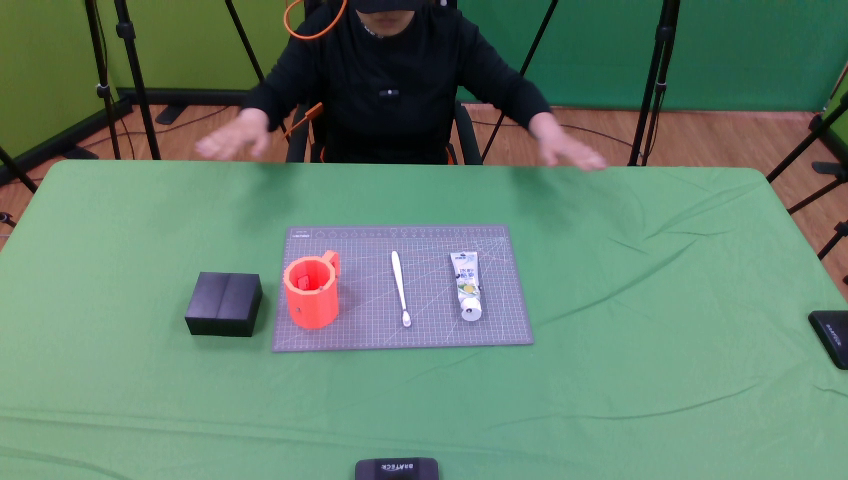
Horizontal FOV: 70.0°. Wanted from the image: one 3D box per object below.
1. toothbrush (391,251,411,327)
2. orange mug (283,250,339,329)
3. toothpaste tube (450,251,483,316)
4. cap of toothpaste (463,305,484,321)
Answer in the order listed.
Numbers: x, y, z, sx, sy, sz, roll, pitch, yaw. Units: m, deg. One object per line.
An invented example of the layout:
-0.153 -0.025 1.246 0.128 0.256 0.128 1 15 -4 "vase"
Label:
-0.044 0.085 1.112 0.014 0.017 0.180 -14 46 1 "toothbrush"
-0.186 0.078 1.052 0.083 0.101 0.126 20 52 15 "orange mug"
0.084 0.077 1.122 0.055 0.035 0.164 3 42 -8 "toothpaste tube"
0.087 0.127 1.064 0.037 0.037 0.011 2 40 -1 "cap of toothpaste"
